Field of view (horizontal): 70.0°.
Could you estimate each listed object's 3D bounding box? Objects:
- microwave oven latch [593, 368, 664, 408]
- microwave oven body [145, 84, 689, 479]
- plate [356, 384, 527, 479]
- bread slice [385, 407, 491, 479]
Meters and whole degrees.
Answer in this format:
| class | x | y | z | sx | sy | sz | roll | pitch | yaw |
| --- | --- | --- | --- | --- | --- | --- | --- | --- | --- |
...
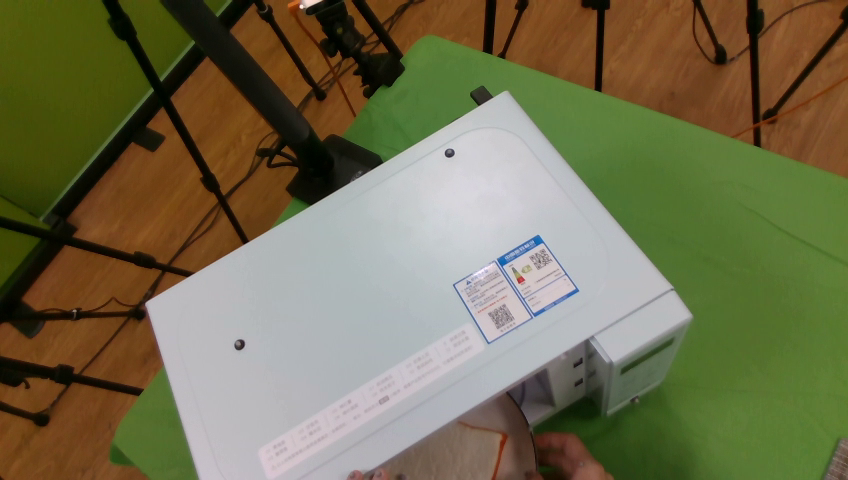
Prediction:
| class | x | y | z | sx | sy | sz | roll | pitch | yaw |
| --- | --- | --- | --- | --- | --- | --- | --- | --- | --- |
| microwave oven latch | 0.233 | 0.159 | 0.690 | 0.079 | 0.030 | 0.030 | -30 | 62 | 0 |
| microwave oven body | -0.010 | 0.100 | 0.671 | 0.442 | 0.262 | 0.322 | -31 | 62 | -1 |
| plate | 0.006 | 0.210 | 0.651 | 0.207 | 0.039 | 0.205 | -5 | 56 | 8 |
| bread slice | 0.001 | 0.210 | 0.661 | 0.131 | 0.019 | 0.104 | 26 | 62 | 18 |
